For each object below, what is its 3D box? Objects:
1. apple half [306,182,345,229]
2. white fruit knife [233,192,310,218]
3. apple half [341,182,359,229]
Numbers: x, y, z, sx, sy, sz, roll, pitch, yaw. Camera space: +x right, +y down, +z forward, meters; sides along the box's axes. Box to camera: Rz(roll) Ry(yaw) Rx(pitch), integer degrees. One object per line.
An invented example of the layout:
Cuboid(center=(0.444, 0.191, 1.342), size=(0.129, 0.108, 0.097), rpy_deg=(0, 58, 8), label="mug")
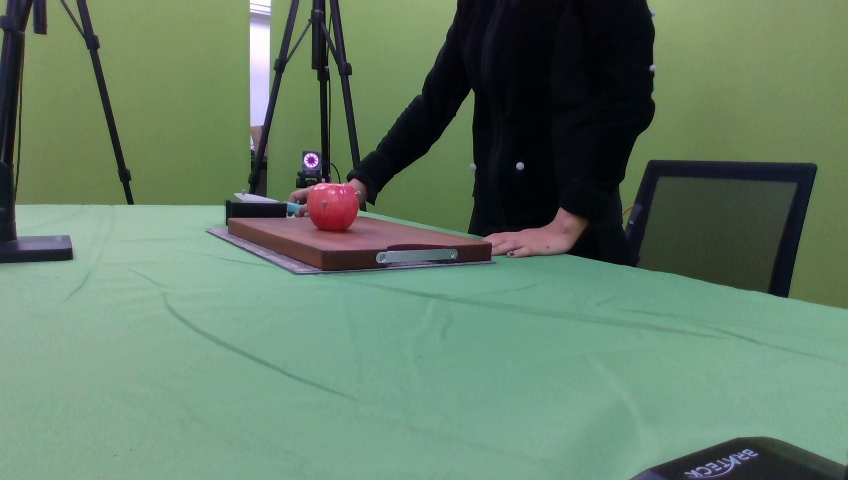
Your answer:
Cuboid(center=(-0.157, -0.054, 0.950), size=(0.053, 0.074, 0.080), rpy_deg=(-5, 13, -20), label="apple half")
Cuboid(center=(-0.276, -0.066, 1.210), size=(0.208, 0.027, 0.016), rpy_deg=(14, 1, -24), label="white fruit knife")
Cuboid(center=(-0.120, -0.056, 0.963), size=(0.033, 0.081, 0.081), rpy_deg=(-5, 9, -20), label="apple half")
